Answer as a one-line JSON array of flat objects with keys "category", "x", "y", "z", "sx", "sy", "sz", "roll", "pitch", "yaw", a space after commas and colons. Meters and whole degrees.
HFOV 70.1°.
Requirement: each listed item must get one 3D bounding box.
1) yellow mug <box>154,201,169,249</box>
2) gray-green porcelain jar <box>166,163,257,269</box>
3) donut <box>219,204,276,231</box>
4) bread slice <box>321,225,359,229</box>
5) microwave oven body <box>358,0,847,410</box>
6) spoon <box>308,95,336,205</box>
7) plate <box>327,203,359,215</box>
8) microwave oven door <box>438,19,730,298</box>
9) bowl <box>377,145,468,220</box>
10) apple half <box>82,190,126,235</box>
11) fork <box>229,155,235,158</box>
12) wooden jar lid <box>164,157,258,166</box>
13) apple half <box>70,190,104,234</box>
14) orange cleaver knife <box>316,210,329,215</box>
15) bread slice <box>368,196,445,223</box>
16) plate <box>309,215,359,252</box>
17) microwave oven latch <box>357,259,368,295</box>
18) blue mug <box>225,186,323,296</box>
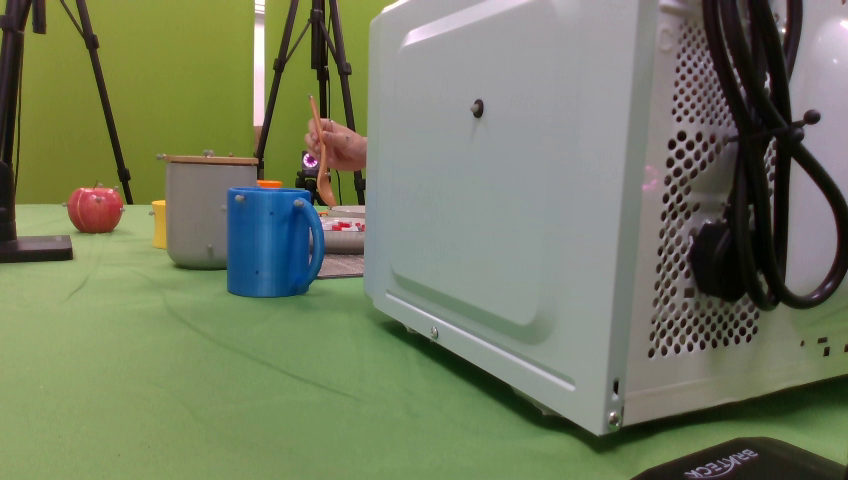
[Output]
[{"category": "yellow mug", "x": -0.337, "y": -0.022, "z": 0.899, "sx": 0.130, "sy": 0.064, "sz": 0.100, "roll": 8, "pitch": 9, "yaw": 34}, {"category": "gray-green porcelain jar", "x": -0.263, "y": -0.031, "z": 0.754, "sx": 0.106, "sy": 0.126, "sz": 0.106, "roll": 2, "pitch": 7, "yaw": 0}, {"category": "donut", "x": -0.316, "y": -0.039, "z": 1.083, "sx": 0.099, "sy": 0.048, "sz": 0.099, "roll": 3, "pitch": 7, "yaw": 0}, {"category": "bread slice", "x": -0.124, "y": -0.009, "z": 0.937, "sx": 0.131, "sy": 0.019, "sz": 0.105, "roll": 5, "pitch": 8, "yaw": 32}, {"category": "microwave oven body", "x": 0.210, "y": -0.051, "z": 0.471, "sx": 0.444, "sy": 0.260, "sz": 0.324, "roll": -1, "pitch": 7, "yaw": -28}, {"category": "spoon", "x": -0.165, "y": -0.146, "z": 0.973, "sx": 0.021, "sy": 0.193, "sz": 0.042, "roll": -13, "pitch": -13, "yaw": 21}, {"category": "plate", "x": -0.102, "y": -0.053, "z": 1.299, "sx": 0.209, "sy": 0.038, "sz": 0.209, "roll": 2, "pitch": 8, "yaw": 0}, {"category": "microwave oven door", "x": 0.181, "y": -0.076, "z": 0.618, "sx": 0.358, "sy": 0.243, "sz": 0.039, "roll": -2, "pitch": 8, "yaw": -28}, {"category": "bowl", "x": 0.010, "y": -0.082, "z": 0.950, "sx": 0.151, "sy": 0.077, "sz": 0.151, "roll": -24, "pitch": 1, "yaw": 1}, {"category": "apple half", "x": -0.516, "y": -0.046, "z": 0.994, "sx": 0.032, "sy": 0.081, "sz": 0.081, "roll": 0, "pitch": 6, "yaw": 26}, {"category": "fork", "x": -0.459, "y": -0.134, "z": 1.415, "sx": 0.028, "sy": 0.018, "sz": 0.207, "roll": -1, "pitch": -34, "yaw": -25}, {"category": "wooden jar lid", "x": -0.261, "y": -0.093, "z": 0.746, "sx": 0.108, "sy": 0.020, "sz": 0.108, "roll": 1, "pitch": 9, "yaw": 0}, {"category": "apple half", "x": -0.552, "y": -0.047, "z": 1.010, "sx": 0.053, "sy": 0.074, "sz": 0.081, "roll": 0, "pitch": 10, "yaw": 26}, {"category": "orange cleaver knife", "x": -0.259, "y": -0.064, "z": 1.423, "sx": 0.212, "sy": 0.012, "sz": 0.077, "roll": -4, "pitch": 3, "yaw": -30}, {"category": "bread slice", "x": -0.040, "y": -0.057, "z": 1.142, "sx": 0.107, "sy": 0.018, "sz": 0.133, "roll": -8, "pitch": -8, "yaw": -39}, {"category": "plate", "x": -0.130, "y": -0.011, "z": 0.946, "sx": 0.208, "sy": 0.039, "sz": 0.207, "roll": 2, "pitch": 8, "yaw": 0}, {"category": "microwave oven latch", "x": -0.019, "y": 0.031, "z": 0.529, "sx": 0.079, "sy": 0.029, "sz": 0.030, "roll": -1, "pitch": 7, "yaw": -26}, {"category": "blue mug", "x": -0.148, "y": 0.000, "z": 0.618, "sx": 0.116, "sy": 0.106, "sz": 0.083, "roll": 7, "pitch": 9, "yaw": 33}]
